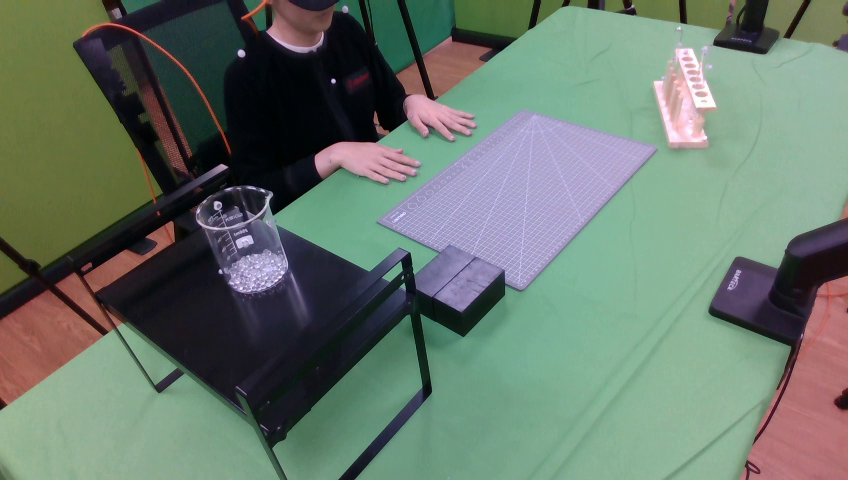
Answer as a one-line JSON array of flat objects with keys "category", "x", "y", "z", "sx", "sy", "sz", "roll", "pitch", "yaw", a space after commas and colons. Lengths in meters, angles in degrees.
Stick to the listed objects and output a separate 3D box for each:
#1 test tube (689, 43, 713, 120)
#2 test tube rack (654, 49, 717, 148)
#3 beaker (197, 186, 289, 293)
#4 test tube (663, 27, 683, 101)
[{"category": "test tube", "x": 0.506, "y": -0.286, "z": 1.106, "sx": 0.017, "sy": 0.151, "sz": 0.017, "roll": -4, "pitch": 43, "yaw": 4}, {"category": "test tube rack", "x": 0.502, "y": -0.281, "z": 1.176, "sx": 0.066, "sy": 0.085, "sz": 0.241, "roll": 1, "pitch": 41, "yaw": 11}, {"category": "beaker", "x": -0.192, "y": 0.001, "z": 0.666, "sx": 0.084, "sy": 0.101, "sz": 0.073, "roll": -33, "pitch": 47, "yaw": -27}, {"category": "test tube", "x": 0.486, "y": -0.342, "z": 1.181, "sx": 0.017, "sy": 0.151, "sz": 0.017, "roll": -4, "pitch": 42, "yaw": 4}]
